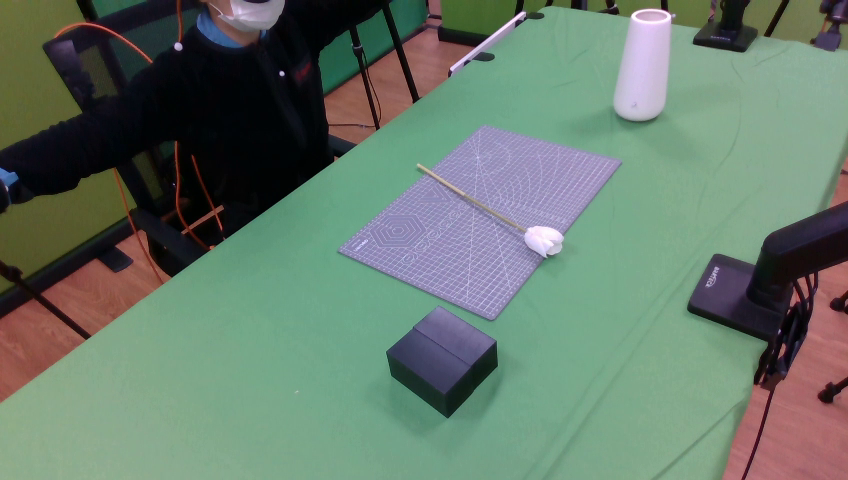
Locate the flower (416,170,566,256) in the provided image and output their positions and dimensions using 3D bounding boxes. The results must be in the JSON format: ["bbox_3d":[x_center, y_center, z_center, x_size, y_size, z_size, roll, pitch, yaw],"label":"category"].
[{"bbox_3d":[0.094,-0.061,1.028,0.358,0.038,0.044,33,92,43],"label":"flower"}]

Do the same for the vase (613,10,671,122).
[{"bbox_3d":[0.419,-0.326,1.151,0.098,0.201,0.097,-4,42,4],"label":"vase"}]
